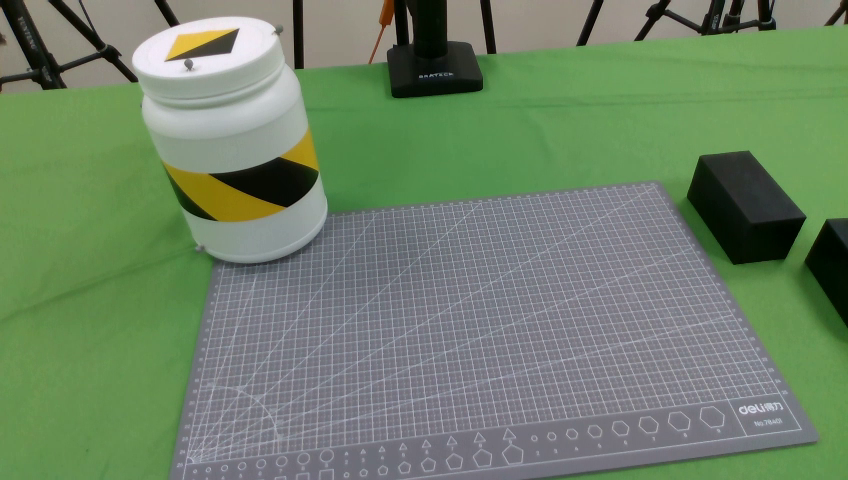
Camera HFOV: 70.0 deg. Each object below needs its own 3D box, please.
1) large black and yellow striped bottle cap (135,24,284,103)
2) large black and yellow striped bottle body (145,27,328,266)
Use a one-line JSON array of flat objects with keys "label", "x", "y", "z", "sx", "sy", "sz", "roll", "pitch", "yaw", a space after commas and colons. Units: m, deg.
[{"label": "large black and yellow striped bottle cap", "x": -0.171, "y": -0.145, "z": 0.488, "sx": 0.115, "sy": 0.019, "sz": 0.114, "roll": -3, "pitch": 40, "yaw": 3}, {"label": "large black and yellow striped bottle body", "x": -0.165, "y": -0.083, "z": 0.545, "sx": 0.131, "sy": 0.186, "sz": 0.129, "roll": -2, "pitch": 41, "yaw": 3}]
